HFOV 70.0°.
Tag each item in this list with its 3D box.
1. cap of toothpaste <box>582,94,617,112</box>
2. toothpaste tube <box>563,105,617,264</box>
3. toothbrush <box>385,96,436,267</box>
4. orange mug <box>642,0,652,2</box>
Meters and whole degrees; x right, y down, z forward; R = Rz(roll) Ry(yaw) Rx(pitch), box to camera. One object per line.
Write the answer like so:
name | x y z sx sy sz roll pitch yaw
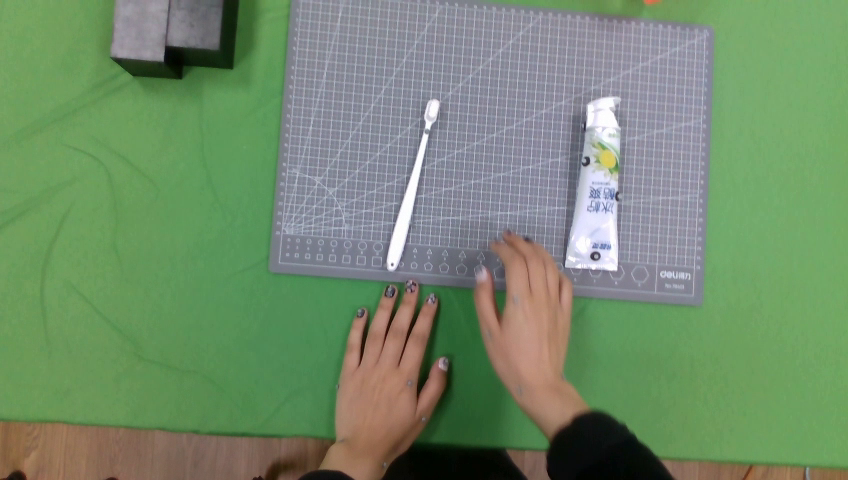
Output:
cap of toothpaste | 0.181 -0.140 0.624 0.037 0.037 0.011 -8 84 -4
toothpaste tube | 0.175 -0.058 0.626 0.055 0.034 0.165 3 91 4
toothbrush | -0.013 -0.061 0.618 0.014 0.016 0.181 15 87 -15
orange mug | 0.223 -0.312 0.609 0.083 0.101 0.126 -17 83 -4
